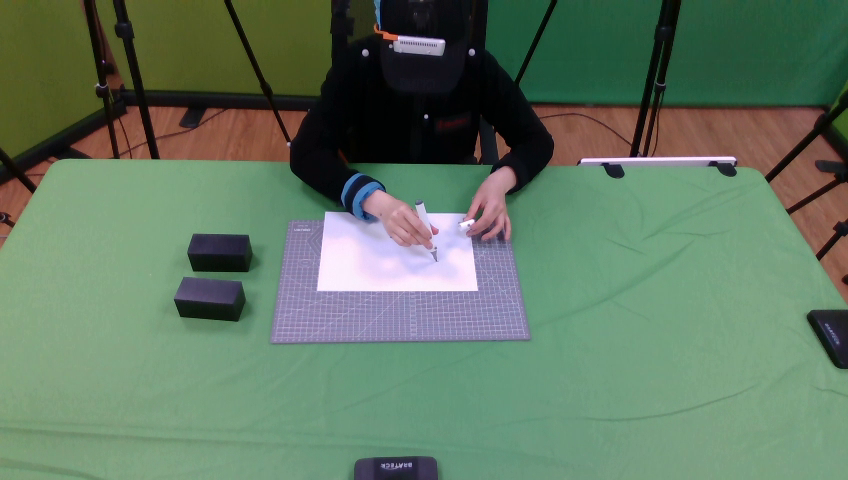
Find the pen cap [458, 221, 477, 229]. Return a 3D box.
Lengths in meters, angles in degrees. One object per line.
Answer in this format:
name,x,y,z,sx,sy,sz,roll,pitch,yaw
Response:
pen cap,0.085,-0.029,1.193,0.038,0.017,0.017,-2,43,-32

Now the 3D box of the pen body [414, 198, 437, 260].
pen body,0.005,-0.017,1.127,0.017,0.145,0.017,-11,37,9
